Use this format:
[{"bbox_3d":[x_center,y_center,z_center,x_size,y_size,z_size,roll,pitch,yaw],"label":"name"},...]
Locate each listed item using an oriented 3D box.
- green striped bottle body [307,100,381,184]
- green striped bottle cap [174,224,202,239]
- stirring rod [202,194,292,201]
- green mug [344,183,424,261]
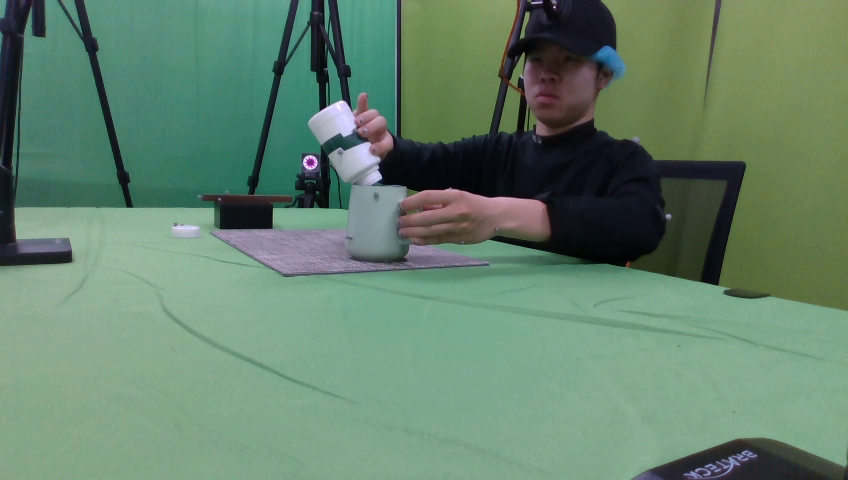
[{"bbox_3d":[-0.107,-0.130,0.852,0.063,0.119,0.063,-31,7,5],"label":"green striped bottle body"},{"bbox_3d":[-0.404,-0.015,1.036,0.044,0.020,0.044,-2,9,1],"label":"green striped bottle cap"},{"bbox_3d":[-0.353,-0.086,1.216,0.177,0.014,0.006,-2,12,-27],"label":"stirring rod"},{"bbox_3d":[-0.053,-0.026,0.849,0.125,0.105,0.093,7,8,33],"label":"green mug"}]
